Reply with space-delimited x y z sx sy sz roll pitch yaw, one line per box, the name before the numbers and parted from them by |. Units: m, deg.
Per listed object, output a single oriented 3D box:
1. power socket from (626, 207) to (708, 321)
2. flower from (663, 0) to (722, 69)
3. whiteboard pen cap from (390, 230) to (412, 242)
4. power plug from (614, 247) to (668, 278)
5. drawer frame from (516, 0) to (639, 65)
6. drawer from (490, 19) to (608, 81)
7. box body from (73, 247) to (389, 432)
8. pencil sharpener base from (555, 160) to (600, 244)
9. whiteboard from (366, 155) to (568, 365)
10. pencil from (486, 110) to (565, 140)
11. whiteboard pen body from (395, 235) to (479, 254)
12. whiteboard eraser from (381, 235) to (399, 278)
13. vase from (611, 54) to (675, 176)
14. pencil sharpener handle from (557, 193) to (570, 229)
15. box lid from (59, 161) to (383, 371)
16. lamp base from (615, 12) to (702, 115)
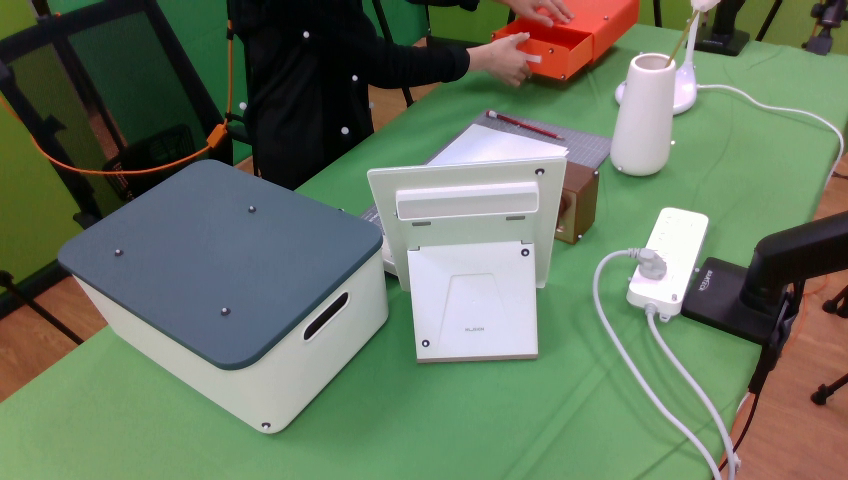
power socket | 0.359 0.025 0.886 0.072 0.033 0.227 16 46 26
flower | 0.379 -0.261 0.965 0.044 0.362 0.038 21 53 5
whiteboard pen cap | -0.037 -0.006 0.980 0.033 0.018 0.018 9 43 16
power plug | 0.306 0.032 0.851 0.072 0.053 0.035 24 49 34
drawer frame | 0.353 -0.506 1.404 0.200 0.083 0.214 25 54 33
drawer | 0.285 -0.445 1.347 0.193 0.073 0.212 25 48 32
box body | -0.255 0.065 0.827 0.361 0.161 0.255 21 48 29
pencil sharpener base | 0.228 -0.057 0.945 0.061 0.107 0.077 24 50 31
whiteboard | 0.059 0.050 0.738 0.217 0.307 0.143 -3 60 5
pencil | 0.204 -0.232 1.226 0.192 0.012 0.012 29 52 32
whiteboard pen body | 0.019 0.005 0.962 0.140 0.017 0.017 9 43 17
whiteboard eraser | -0.066 0.022 0.945 0.112 0.042 0.056 20 49 28
vase | 0.377 -0.209 1.031 0.098 0.201 0.097 -3 40 3
pencil sharpener handle | 0.195 -0.038 0.908 0.035 0.068 0.031 24 50 30
box lid | -0.262 0.010 0.777 0.369 0.015 0.264 21 48 29
lamp base | 0.484 -0.363 1.211 0.180 0.181 0.159 -15 41 -13
